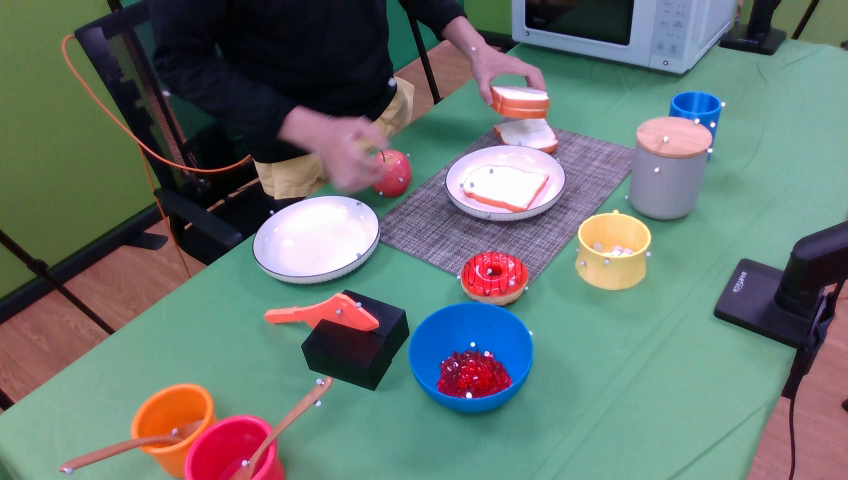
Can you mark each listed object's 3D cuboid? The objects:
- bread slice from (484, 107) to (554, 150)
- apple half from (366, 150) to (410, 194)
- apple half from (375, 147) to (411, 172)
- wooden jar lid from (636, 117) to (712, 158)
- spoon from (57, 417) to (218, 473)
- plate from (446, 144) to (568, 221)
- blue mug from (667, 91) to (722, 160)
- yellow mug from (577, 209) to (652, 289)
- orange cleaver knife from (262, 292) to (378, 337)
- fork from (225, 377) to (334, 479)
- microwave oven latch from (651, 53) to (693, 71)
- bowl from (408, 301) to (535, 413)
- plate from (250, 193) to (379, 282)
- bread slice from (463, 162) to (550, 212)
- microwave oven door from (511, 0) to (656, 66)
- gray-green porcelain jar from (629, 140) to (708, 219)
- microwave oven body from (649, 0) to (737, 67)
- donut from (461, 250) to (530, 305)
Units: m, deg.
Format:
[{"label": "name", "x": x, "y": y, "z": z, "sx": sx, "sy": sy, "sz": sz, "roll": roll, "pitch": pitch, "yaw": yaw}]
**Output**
[{"label": "bread slice", "x": 0.186, "y": -0.203, "z": 1.161, "sx": 0.105, "sy": 0.019, "sz": 0.130, "roll": -22, "pitch": 44, "yaw": -5}, {"label": "apple half", "x": -0.069, "y": -0.115, "z": 1.076, "sx": 0.080, "sy": 0.075, "sz": 0.053, "roll": 17, "pitch": 52, "yaw": 24}, {"label": "apple half", "x": -0.052, "y": -0.140, "z": 1.100, "sx": 0.081, "sy": 0.081, "sz": 0.033, "roll": 17, "pitch": 50, "yaw": 25}, {"label": "wooden jar lid", "x": 0.377, "y": -0.151, "z": 0.917, "sx": 0.108, "sy": 0.021, "sz": 0.108, "roll": -2, "pitch": 41, "yaw": 3}, {"label": "spoon", "x": -0.304, "y": 0.221, "z": 0.661, "sx": 0.041, "sy": 0.195, "sz": 0.021, "roll": 19, "pitch": 92, "yaw": 27}, {"label": "plate", "x": 0.142, "y": -0.097, "z": 1.045, "sx": 0.207, "sy": 0.039, "sz": 0.206, "roll": -4, "pitch": 40, "yaw": 4}, {"label": "blue mug", "x": 0.474, "y": -0.207, "z": 1.079, "sx": 0.082, "sy": 0.106, "sz": 0.116, "roll": 4, "pitch": 42, "yaw": 13}, {"label": "yellow mug", "x": 0.279, "y": 0.004, "z": 0.893, "sx": 0.099, "sy": 0.064, "sz": 0.130, "roll": 5, "pitch": 41, "yaw": 15}, {"label": "orange cleaver knife", "x": -0.145, "y": 0.107, "z": 0.821, "sx": 0.210, "sy": 0.077, "sz": 0.012, "roll": -13, "pitch": 36, "yaw": 43}, {"label": "fork", "x": -0.163, "y": 0.216, "z": 0.646, "sx": 0.207, "sy": 0.019, "sz": 0.028, "roll": -49, "pitch": 42, "yaw": 16}, {"label": "microwave oven latch", "x": 0.532, "y": -0.387, "z": 1.301, "sx": 0.078, "sy": 0.029, "sz": 0.030, "roll": 27, "pitch": 52, "yaw": 34}, {"label": "bowl", "x": 0.060, "y": 0.156, "z": 0.739, "sx": 0.151, "sy": 0.077, "sz": 0.150, "roll": -4, "pitch": 40, "yaw": 4}, {"label": "plate", "x": -0.174, "y": -0.001, "z": 0.984, "sx": 0.209, "sy": 0.038, "sz": 0.208, "roll": -3, "pitch": 40, "yaw": 3}, {"label": "bread slice", "x": 0.135, "y": -0.094, "z": 1.045, "sx": 0.133, "sy": 0.018, "sz": 0.107, "roll": 16, "pitch": 45, "yaw": 22}, {"label": "microwave oven door", "x": 0.351, "y": -0.540, "z": 1.349, "sx": 0.353, "sy": 0.245, "sz": 0.039, "roll": 24, "pitch": 50, "yaw": 31}, {"label": "gray-green porcelain jar", "x": 0.383, "y": -0.105, "z": 0.958, "sx": 0.106, "sy": 0.127, "sz": 0.105, "roll": -4, "pitch": 41, "yaw": 4}, {"label": "microwave oven body", "x": 0.475, "y": -0.602, "z": 1.411, "sx": 0.438, "sy": 0.261, "sz": 0.327, "roll": 23, "pitch": 50, "yaw": 32}, {"label": "donut", "x": 0.103, "y": 0.053, "z": 0.872, "sx": 0.099, "sy": 0.048, "sz": 0.098, "roll": -4, "pitch": 40, "yaw": 4}]
